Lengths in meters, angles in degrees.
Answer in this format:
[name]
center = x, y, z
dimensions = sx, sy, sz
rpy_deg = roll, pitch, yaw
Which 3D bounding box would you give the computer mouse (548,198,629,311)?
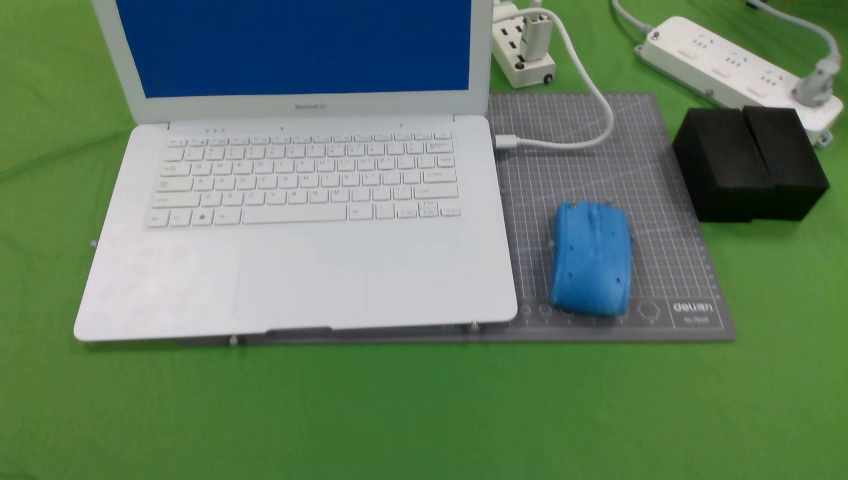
[computer mouse]
center = 0.141, 0.006, 0.516
dimensions = 0.062, 0.041, 0.116
rpy_deg = 9, 50, 8

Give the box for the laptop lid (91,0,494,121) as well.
[laptop lid]
center = -0.112, -0.210, 0.536
dimensions = 0.357, 0.244, 0.013
rpy_deg = -3, 41, -2

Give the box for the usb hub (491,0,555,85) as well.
[usb hub]
center = 0.101, -0.229, 0.693
dimensions = 0.049, 0.025, 0.124
rpy_deg = -14, 56, -11

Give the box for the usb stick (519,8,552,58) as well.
[usb stick]
center = 0.118, -0.215, 0.648
dimensions = 0.027, 0.059, 0.021
rpy_deg = -17, 55, -11

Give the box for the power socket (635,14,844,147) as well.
[power socket]
center = 0.340, -0.178, 0.659
dimensions = 0.072, 0.033, 0.225
rpy_deg = -36, 63, -25

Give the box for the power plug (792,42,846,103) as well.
[power plug]
center = 0.412, -0.163, 0.622
dimensions = 0.072, 0.053, 0.035
rpy_deg = -28, 58, -18

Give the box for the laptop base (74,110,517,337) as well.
[laptop base]
center = -0.105, -0.024, 0.547
dimensions = 0.355, 0.023, 0.233
rpy_deg = -2, 58, -3
